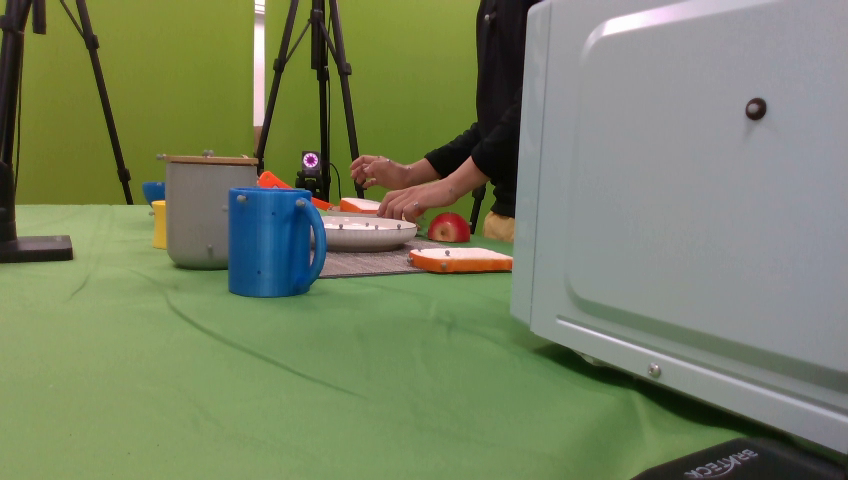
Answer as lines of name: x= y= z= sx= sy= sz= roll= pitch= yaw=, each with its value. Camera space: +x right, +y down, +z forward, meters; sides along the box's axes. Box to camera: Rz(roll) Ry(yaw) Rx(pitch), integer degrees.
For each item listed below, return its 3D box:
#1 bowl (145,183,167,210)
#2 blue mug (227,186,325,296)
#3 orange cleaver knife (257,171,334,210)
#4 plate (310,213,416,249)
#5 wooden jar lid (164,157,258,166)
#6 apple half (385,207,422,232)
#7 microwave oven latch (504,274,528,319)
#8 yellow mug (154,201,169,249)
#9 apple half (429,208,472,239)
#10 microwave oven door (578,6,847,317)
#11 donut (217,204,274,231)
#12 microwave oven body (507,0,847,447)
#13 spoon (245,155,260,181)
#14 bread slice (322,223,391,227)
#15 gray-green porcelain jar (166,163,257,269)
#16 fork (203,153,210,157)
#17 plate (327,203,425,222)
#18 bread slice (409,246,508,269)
bowl: x=-0.459 y=-0.068 z=1.175 sx=0.151 sy=0.077 sz=0.151 roll=3 pitch=7 yaw=0
blue mug: x=-0.146 y=0.000 z=0.618 sx=0.116 sy=0.106 sz=0.083 roll=7 pitch=9 yaw=32
orange cleaver knife: x=-0.283 y=-0.087 z=1.343 sx=0.212 sy=0.077 sz=0.012 roll=24 pitch=-16 yaw=-41
plate: x=-0.117 y=-0.014 z=0.967 sx=0.208 sy=0.039 sz=0.207 roll=2 pitch=7 yaw=0
wooden jar lid: x=-0.261 y=-0.093 z=0.746 sx=0.108 sy=0.020 sz=0.108 roll=0 pitch=9 yaw=0
apple half: x=-0.044 y=-0.031 z=1.178 sx=0.081 sy=0.033 sz=0.081 roll=29 pitch=2 yaw=-1
microwave oven latch: x=0.100 y=0.041 z=0.470 sx=0.079 sy=0.029 sz=0.030 roll=-1 pitch=7 yaw=-27
yellow mug: x=-0.337 y=-0.022 z=0.899 sx=0.130 sy=0.064 sz=0.100 roll=8 pitch=9 yaw=34
apple half: x=0.048 y=-0.031 z=1.117 sx=0.080 sy=0.053 sz=0.075 roll=5 pitch=10 yaw=23
microwave oven door: x=0.294 y=-0.067 z=0.570 sx=0.358 sy=0.243 sz=0.039 roll=-3 pitch=9 yaw=-31
donut: x=-0.318 y=-0.038 z=1.080 sx=0.099 sy=0.048 sz=0.099 roll=3 pitch=7 yaw=0
microwave oven body: x=0.331 y=-0.042 z=0.425 sx=0.444 sy=0.260 sz=0.324 roll=-2 pitch=8 yaw=-31
spoon: x=-0.421 y=-0.150 z=1.540 sx=0.042 sy=0.021 sz=0.193 roll=-5 pitch=55 yaw=-37
bread slice: x=-0.116 y=-0.014 z=0.974 sx=0.135 sy=0.018 sz=0.106 roll=-6 pitch=11 yaw=-42
gray-green porcelain jar: x=-0.263 y=-0.031 z=0.754 sx=0.106 sy=0.126 sz=0.106 roll=2 pitch=7 yaw=0
fork: x=-0.480 y=-0.136 z=1.411 sx=0.028 sy=0.018 sz=0.207 roll=0 pitch=-34 yaw=-1
plate: x=-0.102 y=-0.053 z=1.299 sx=0.209 sy=0.038 sz=0.209 roll=2 pitch=8 yaw=0
bread slice: x=0.048 y=0.022 z=0.816 sx=0.132 sy=0.019 sz=0.104 roll=0 pitch=7 yaw=-24
